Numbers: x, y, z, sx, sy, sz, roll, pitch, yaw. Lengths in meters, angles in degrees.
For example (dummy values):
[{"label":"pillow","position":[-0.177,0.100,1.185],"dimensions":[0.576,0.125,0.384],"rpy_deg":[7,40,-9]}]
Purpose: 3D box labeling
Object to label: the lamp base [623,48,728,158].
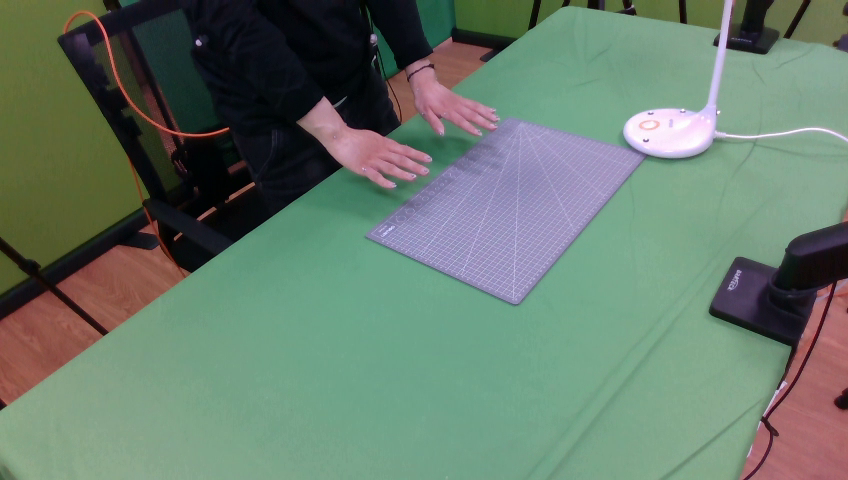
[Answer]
[{"label":"lamp base","position":[0.462,-0.261,1.084],"dimensions":[0.179,0.181,0.160],"rpy_deg":[3,42,7]}]
